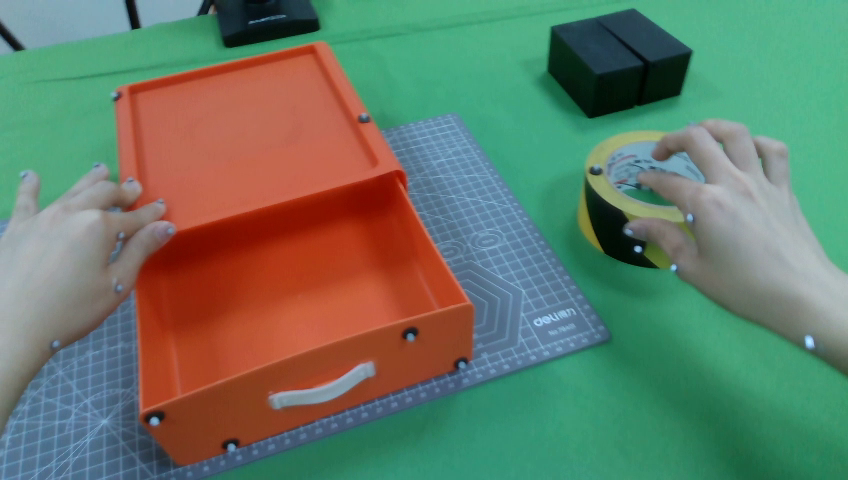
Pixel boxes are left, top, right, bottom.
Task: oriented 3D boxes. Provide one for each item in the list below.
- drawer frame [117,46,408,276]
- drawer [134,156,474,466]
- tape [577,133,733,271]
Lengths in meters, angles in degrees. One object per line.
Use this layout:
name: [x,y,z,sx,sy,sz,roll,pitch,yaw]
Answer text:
drawer frame: [-0.141,-0.063,0.511,0.202,0.083,0.211,-18,47,-13]
drawer: [-0.094,0.023,0.428,0.195,0.074,0.209,-18,48,-12]
tape: [0.183,-0.034,0.490,0.117,0.053,0.115,-1,46,2]
